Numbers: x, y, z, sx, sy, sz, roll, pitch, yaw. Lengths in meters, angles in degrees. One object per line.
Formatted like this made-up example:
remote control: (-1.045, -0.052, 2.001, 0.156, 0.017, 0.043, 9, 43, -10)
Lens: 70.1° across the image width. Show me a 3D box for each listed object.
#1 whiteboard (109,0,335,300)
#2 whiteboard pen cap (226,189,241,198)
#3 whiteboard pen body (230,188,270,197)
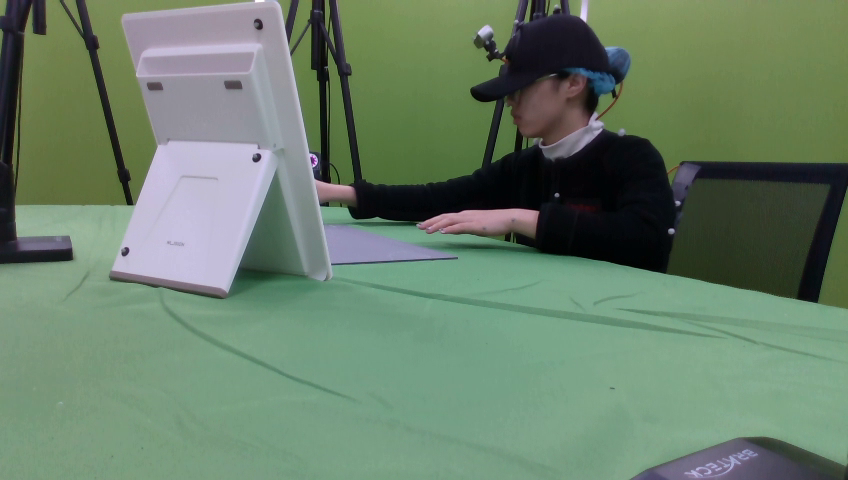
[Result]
whiteboard: (-0.247, -0.072, 0.624, 0.216, 0.305, 0.144, 6, 28, 26)
whiteboard pen cap: (-0.396, -0.096, 1.258, 0.018, 0.018, 0.033, 4, 5, 17)
whiteboard pen body: (-0.377, -0.103, 1.313, 0.017, 0.017, 0.141, 4, 8, 18)
